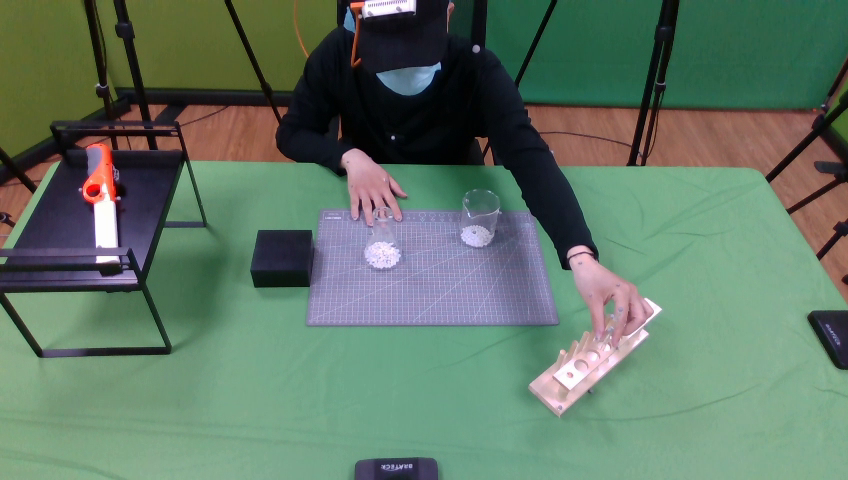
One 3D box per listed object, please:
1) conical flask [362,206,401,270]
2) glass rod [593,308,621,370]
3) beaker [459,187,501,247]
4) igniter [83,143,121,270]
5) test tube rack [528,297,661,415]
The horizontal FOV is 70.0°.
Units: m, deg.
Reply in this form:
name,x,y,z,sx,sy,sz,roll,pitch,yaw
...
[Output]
name,x,y,z,sx,sy,sz,roll,pitch,yaw
conical flask,-0.078,-0.008,1.126,0.075,0.122,0.075,2,46,-2
glass rod,0.278,0.156,0.934,0.008,0.201,0.008,-1,54,1
beaker,0.106,-0.039,1.187,0.074,0.101,0.084,22,50,17
igniter,-0.508,-0.063,0.961,0.057,0.025,0.274,-14,53,-18
test tube rack,0.285,0.178,1.005,0.242,0.085,0.066,-31,55,-29
